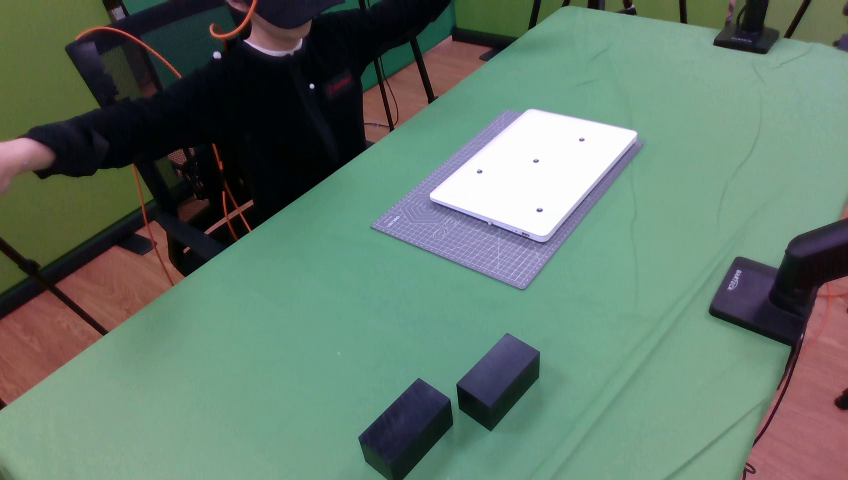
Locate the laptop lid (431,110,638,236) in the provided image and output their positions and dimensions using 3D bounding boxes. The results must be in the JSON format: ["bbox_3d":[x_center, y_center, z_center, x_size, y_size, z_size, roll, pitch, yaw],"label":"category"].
[{"bbox_3d":[0.205,-0.138,1.092,0.239,0.013,0.358,23,49,34],"label":"laptop lid"}]

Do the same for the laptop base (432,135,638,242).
[{"bbox_3d":[0.208,-0.129,1.098,0.233,0.023,0.355,20,47,33],"label":"laptop base"}]
